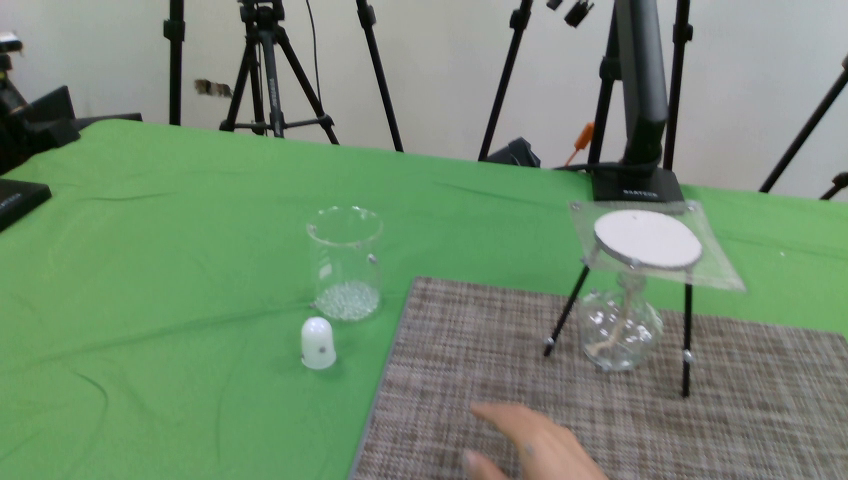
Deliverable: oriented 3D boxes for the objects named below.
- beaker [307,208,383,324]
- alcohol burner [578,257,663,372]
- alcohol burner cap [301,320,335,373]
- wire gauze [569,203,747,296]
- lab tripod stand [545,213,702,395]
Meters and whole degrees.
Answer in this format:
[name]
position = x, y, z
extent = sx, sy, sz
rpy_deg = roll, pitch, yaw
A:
[beaker]
position = -0.076, 0.027, 0.615
extent = 0.073, 0.101, 0.083
rpy_deg = 16, 35, 19
[alcohol burner]
position = 0.185, 0.063, 0.558
extent = 0.078, 0.120, 0.077
rpy_deg = 3, 35, -2
[alcohol burner cap]
position = -0.099, 0.096, 0.561
extent = 0.034, 0.048, 0.033
rpy_deg = 3, 34, -1
[wire gauze]
position = 0.192, 0.001, 0.514
extent = 0.125, 0.011, 0.120
rpy_deg = 5, 34, 2
[lab tripod stand]
position = 0.194, 0.055, 0.555
extent = 0.148, 0.132, 0.147
rpy_deg = 4, 33, -2
